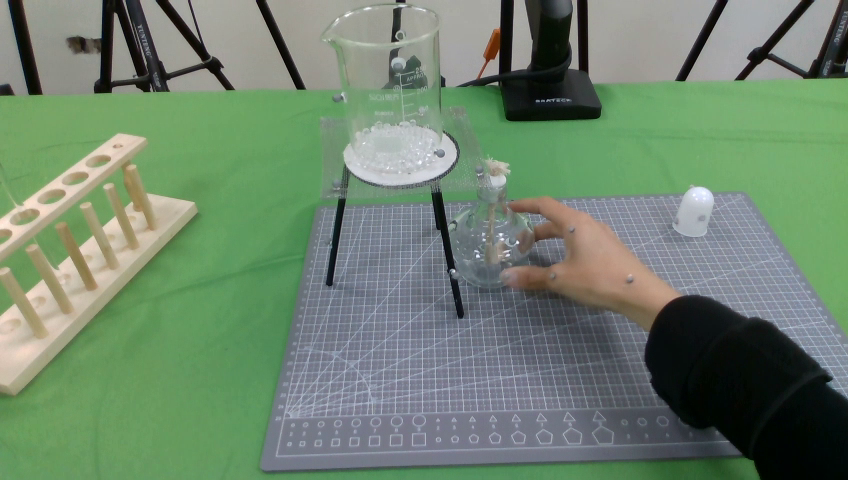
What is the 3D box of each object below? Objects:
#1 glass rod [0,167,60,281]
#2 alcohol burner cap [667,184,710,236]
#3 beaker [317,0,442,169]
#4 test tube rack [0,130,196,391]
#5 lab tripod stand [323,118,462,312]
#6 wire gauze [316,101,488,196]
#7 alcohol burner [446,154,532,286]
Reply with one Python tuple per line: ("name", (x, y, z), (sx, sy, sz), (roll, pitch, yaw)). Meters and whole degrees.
("glass rod", (-0.339, -0.047, 0.487), (0.008, 0.201, 0.008), (-4, 34, 3))
("alcohol burner cap", (0.255, -0.031, 0.580), (0.034, 0.048, 0.033), (-1, 40, 1))
("beaker", (-0.028, -0.108, 0.432), (0.084, 0.101, 0.073), (-6, 40, -3))
("test tube rack", (-0.309, 0.004, 0.529), (0.066, 0.086, 0.241), (12, 42, 15))
("lab tripod stand", (-0.020, -0.022, 0.508), (0.148, 0.133, 0.147), (-1, 43, 2))
("wire gauze", (-0.022, -0.071, 0.464), (0.125, 0.011, 0.120), (-7, 39, -2))
("alcohol burner", (0.055, -0.020, 0.518), (0.078, 0.120, 0.077), (-2, 39, 2))
